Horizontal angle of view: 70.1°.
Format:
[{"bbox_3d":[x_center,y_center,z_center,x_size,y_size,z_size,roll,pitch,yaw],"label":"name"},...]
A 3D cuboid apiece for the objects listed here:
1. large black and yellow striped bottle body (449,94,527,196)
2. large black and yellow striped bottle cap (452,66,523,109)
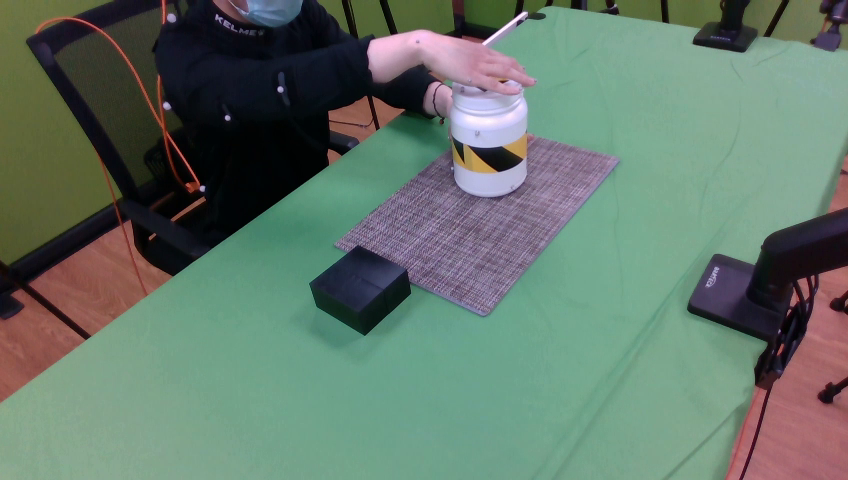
[{"bbox_3d":[0.111,-0.182,1.034,0.131,0.185,0.130,-4,41,4],"label":"large black and yellow striped bottle body"},{"bbox_3d":[0.102,-0.248,0.976,0.115,0.019,0.114,-5,42,5],"label":"large black and yellow striped bottle cap"}]
